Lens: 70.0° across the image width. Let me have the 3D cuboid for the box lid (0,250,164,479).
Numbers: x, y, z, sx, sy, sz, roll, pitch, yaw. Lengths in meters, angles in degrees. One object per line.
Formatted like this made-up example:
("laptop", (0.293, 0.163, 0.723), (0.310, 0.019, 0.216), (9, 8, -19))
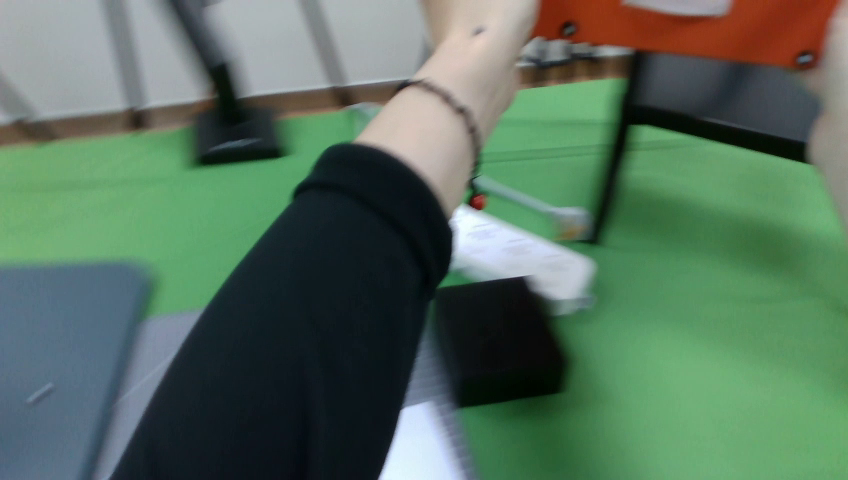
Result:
("box lid", (-0.392, 0.142, 0.500), (0.263, 0.015, 0.367), (-1, 43, -2))

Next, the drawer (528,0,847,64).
("drawer", (0.181, -0.219, 0.442), (0.194, 0.074, 0.210), (8, 45, 5))

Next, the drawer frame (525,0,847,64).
("drawer frame", (0.181, -0.224, 0.442), (0.201, 0.083, 0.211), (7, 46, 5))

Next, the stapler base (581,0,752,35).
("stapler base", (0.165, -0.176, 0.426), (0.130, 0.024, 0.041), (19, 46, 16))

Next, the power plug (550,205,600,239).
("power plug", (0.167, -0.018, 0.690), (0.052, 0.035, 0.072), (-33, 19, -37))

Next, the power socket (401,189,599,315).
("power socket", (0.080, 0.008, 0.647), (0.225, 0.033, 0.072), (26, 48, 24))
